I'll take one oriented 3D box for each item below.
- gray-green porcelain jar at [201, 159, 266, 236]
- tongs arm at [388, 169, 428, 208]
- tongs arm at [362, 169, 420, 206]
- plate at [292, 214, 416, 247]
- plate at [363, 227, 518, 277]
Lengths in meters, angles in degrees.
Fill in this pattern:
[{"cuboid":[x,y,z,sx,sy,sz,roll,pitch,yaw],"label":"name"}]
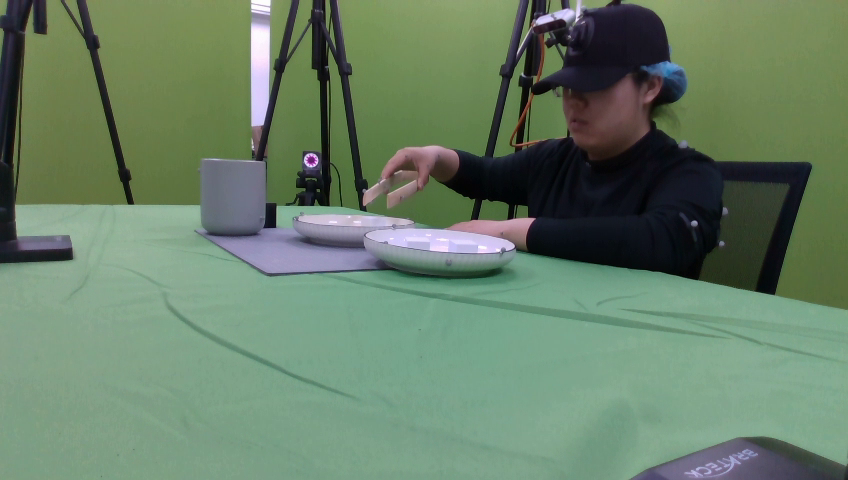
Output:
[{"cuboid":[-0.326,-0.073,1.036,0.106,0.126,0.106,3,8,0],"label":"gray-green porcelain jar"},{"cuboid":[-0.028,-0.107,1.189,0.028,0.028,0.388,1,12,10],"label":"tongs arm"},{"cuboid":[-0.056,-0.109,1.194,0.051,0.026,0.385,3,13,6],"label":"tongs arm"},{"cuboid":[-0.118,-0.017,1.024,0.208,0.039,0.207,3,7,0],"label":"plate"},{"cuboid":[0.022,0.016,0.817,0.209,0.038,0.209,3,9,0],"label":"plate"}]
